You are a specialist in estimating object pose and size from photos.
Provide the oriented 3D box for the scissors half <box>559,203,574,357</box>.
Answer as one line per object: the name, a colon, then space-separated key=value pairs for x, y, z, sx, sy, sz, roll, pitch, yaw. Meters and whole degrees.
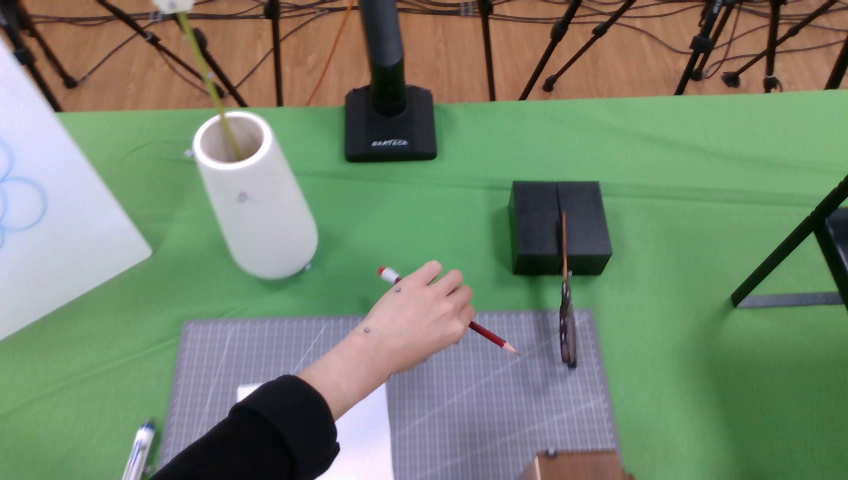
scissors half: x=0.148 y=0.036 z=0.634 sx=0.013 sy=0.040 sz=0.174 roll=-4 pitch=61 yaw=18

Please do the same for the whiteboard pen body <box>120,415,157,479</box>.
whiteboard pen body: x=-0.279 y=0.234 z=0.567 sx=0.017 sy=0.017 sz=0.139 roll=5 pitch=58 yaw=2

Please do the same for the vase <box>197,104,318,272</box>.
vase: x=-0.171 y=-0.048 z=0.629 sx=0.098 sy=0.201 sz=0.097 roll=0 pitch=58 yaw=1

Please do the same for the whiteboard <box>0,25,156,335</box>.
whiteboard: x=-0.465 y=-0.077 z=0.614 sx=0.217 sy=0.308 sz=0.142 roll=-32 pitch=46 yaw=-17

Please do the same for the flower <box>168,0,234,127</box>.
flower: x=-0.178 y=-0.102 z=0.564 sx=0.044 sy=0.365 sz=0.038 roll=-8 pitch=43 yaw=-2

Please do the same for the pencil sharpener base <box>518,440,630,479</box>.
pencil sharpener base: x=0.129 y=0.218 z=0.529 sx=0.077 sy=0.108 sz=0.061 roll=-2 pitch=59 yaw=-2

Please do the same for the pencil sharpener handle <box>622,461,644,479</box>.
pencil sharpener handle: x=0.180 y=0.207 z=0.522 sx=0.031 sy=0.068 sz=0.035 roll=-2 pitch=69 yaw=-2

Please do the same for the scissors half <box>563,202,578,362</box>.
scissors half: x=0.156 y=0.042 z=0.652 sx=0.012 sy=0.040 sz=0.174 roll=-5 pitch=78 yaw=23

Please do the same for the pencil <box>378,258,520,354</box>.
pencil: x=0.019 y=0.062 z=0.595 sx=0.192 sy=0.012 sz=0.012 roll=31 pitch=62 yaw=37
